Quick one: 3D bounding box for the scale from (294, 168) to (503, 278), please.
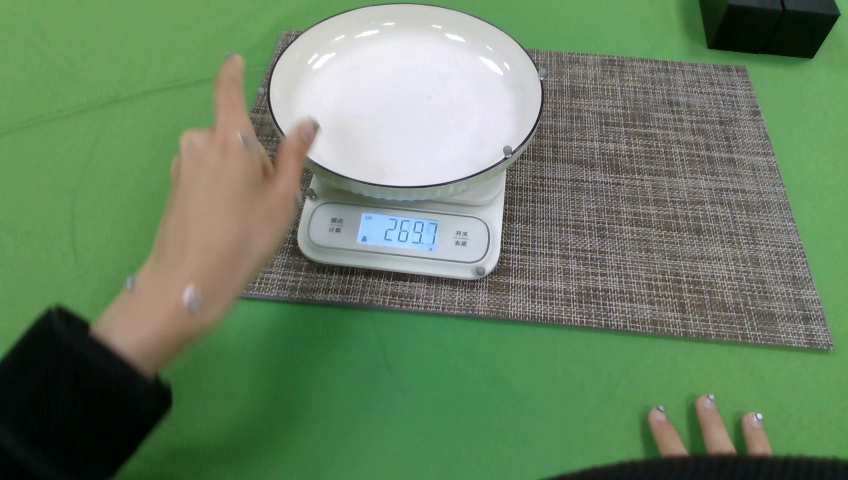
[{"bbox_3d":[-0.011,-0.065,0.480,0.148,0.032,0.199,6,55,3],"label":"scale"}]

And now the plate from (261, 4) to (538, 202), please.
[{"bbox_3d":[-0.017,-0.106,0.469,0.208,0.039,0.205,1,54,-2],"label":"plate"}]
